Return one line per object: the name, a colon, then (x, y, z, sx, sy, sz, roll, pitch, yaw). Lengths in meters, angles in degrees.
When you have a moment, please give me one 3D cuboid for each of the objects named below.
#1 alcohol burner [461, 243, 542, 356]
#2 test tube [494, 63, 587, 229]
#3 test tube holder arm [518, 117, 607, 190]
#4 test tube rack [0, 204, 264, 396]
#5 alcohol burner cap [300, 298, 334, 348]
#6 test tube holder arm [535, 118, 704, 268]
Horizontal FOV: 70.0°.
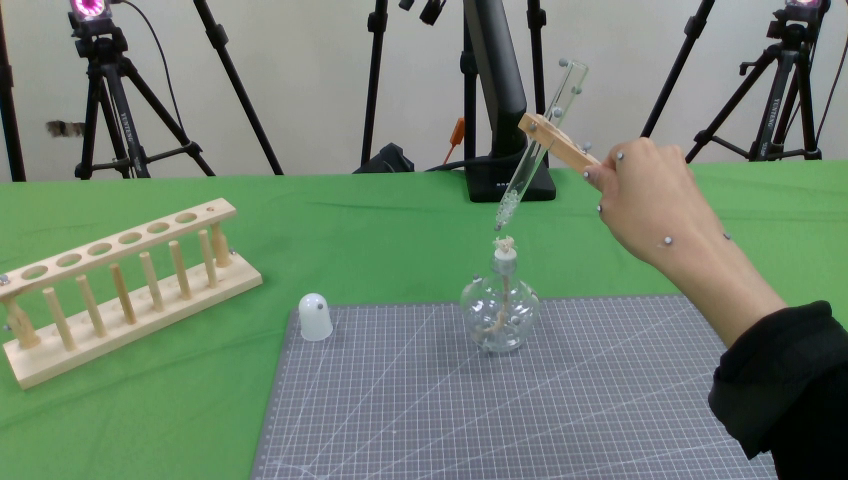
alcohol burner: (0.074, 0.051, 0.572, 0.078, 0.120, 0.077, 0, 35, 0)
test tube: (0.092, -0.071, 0.496, 0.017, 0.151, 0.017, 17, 30, -10)
test tube holder arm: (0.108, -0.069, 0.473, 0.010, 0.015, 0.087, -12, 47, -45)
test tube rack: (-0.294, 0.051, 0.615, 0.243, 0.086, 0.066, -26, 40, -33)
alcohol burner cap: (-0.107, 0.079, 0.601, 0.034, 0.048, 0.033, 0, 34, 0)
test tube holder arm: (0.137, -0.041, 0.452, 0.013, 0.015, 0.176, -5, 42, -39)
